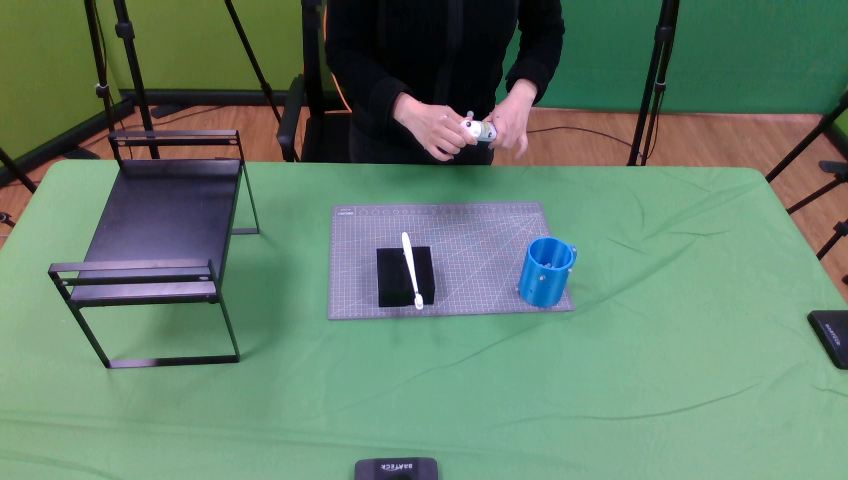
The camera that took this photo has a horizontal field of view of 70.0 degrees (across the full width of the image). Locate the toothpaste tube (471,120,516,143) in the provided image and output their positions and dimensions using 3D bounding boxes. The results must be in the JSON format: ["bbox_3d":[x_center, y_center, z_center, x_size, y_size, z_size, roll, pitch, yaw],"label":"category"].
[{"bbox_3d":[0.127,-0.209,1.166,0.165,0.034,0.055,-13,70,-54],"label":"toothpaste tube"}]

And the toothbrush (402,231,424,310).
[{"bbox_3d":[-0.022,0.049,1.080,0.014,0.017,0.180,-9,47,-5],"label":"toothbrush"}]

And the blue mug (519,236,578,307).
[{"bbox_3d":[0.234,0.051,1.102,0.116,0.106,0.082,-23,52,-24],"label":"blue mug"}]

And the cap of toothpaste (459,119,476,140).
[{"bbox_3d":[0.080,-0.202,1.102,0.037,0.037,0.011,34,27,25],"label":"cap of toothpaste"}]
